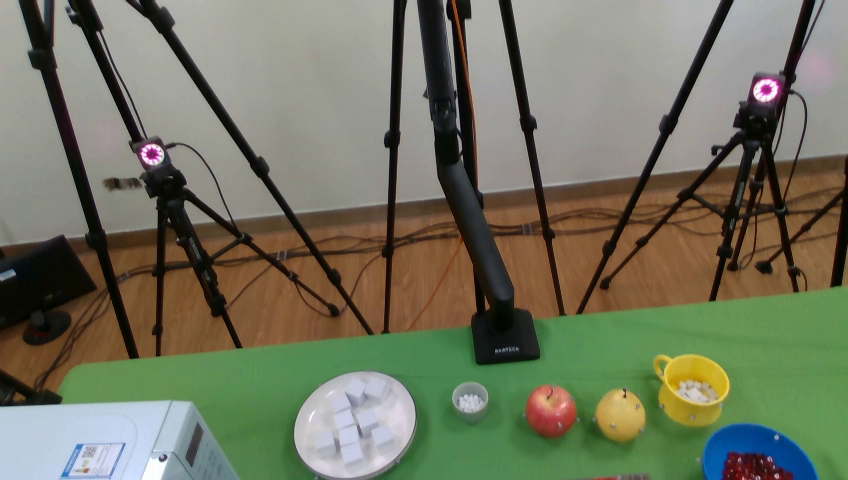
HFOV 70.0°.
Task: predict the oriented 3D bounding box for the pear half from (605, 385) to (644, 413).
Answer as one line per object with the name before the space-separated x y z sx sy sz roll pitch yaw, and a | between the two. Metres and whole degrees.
pear half | 0.325 0.256 0.983 0.070 0.089 0.031 13 46 28

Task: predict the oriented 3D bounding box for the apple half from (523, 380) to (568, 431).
apple half | 0.195 0.268 1.001 0.081 0.075 0.053 -36 45 -24

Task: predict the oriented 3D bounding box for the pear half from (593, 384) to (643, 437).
pear half | 0.303 0.269 0.956 0.076 0.111 0.056 14 45 29

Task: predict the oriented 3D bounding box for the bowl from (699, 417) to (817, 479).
bowl | 0.469 0.342 0.872 0.151 0.077 0.150 -4 42 4

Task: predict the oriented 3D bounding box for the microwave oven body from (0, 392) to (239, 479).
microwave oven body | -0.462 0.446 0.747 0.326 0.263 0.437 -3 42 4

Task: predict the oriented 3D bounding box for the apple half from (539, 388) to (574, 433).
apple half | 0.221 0.284 0.978 0.081 0.082 0.032 -34 44 -27

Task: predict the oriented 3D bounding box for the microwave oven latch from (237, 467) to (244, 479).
microwave oven latch | -0.300 0.392 0.931 0.030 0.030 0.078 -2 42 6

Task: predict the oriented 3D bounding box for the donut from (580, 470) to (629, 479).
donut | 0.266 0.382 0.876 0.099 0.049 0.098 -6 42 6

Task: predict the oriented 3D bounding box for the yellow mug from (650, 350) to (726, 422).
yellow mug | 0.431 0.233 1.011 0.100 0.064 0.129 -28 44 -21

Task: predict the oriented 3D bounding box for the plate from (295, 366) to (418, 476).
plate | -0.112 0.308 1.029 0.207 0.039 0.205 -4 41 4

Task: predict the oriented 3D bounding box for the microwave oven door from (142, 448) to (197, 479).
microwave oven door | -0.318 0.461 0.701 0.039 0.246 0.352 -4 41 5

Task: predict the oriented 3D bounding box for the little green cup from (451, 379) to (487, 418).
little green cup | 0.078 0.274 1.039 0.061 0.039 0.061 -4 41 4
